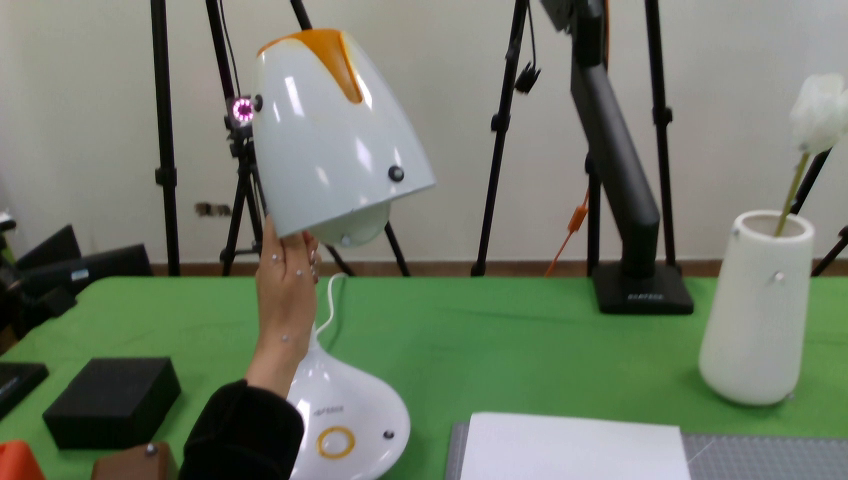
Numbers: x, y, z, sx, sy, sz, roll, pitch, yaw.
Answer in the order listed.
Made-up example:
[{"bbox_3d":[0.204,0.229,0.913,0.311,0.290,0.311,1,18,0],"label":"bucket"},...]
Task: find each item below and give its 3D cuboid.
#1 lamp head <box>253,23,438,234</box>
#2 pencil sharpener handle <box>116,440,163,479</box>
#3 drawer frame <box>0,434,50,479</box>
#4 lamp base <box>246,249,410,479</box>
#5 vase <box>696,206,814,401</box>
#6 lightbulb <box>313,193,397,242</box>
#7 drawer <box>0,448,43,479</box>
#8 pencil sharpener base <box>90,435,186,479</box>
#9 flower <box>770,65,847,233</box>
[{"bbox_3d":[-0.062,-0.075,0.398,0.112,0.123,0.112,-22,0,1],"label":"lamp head"},{"bbox_3d":[-0.251,0.199,0.542,0.036,0.068,0.030,-8,26,-18],"label":"pencil sharpener handle"},{"bbox_3d":[-0.429,0.277,0.471,0.202,0.083,0.211,-14,28,-16],"label":"drawer frame"},{"bbox_3d":[-0.103,0.110,0.581,0.161,0.181,0.177,-13,27,-22],"label":"lamp base"},{"bbox_3d":[0.343,0.068,0.628,0.098,0.201,0.097,-5,26,3],"label":"vase"},{"bbox_3d":[-0.052,-0.052,0.391,0.059,0.108,0.059,-9,5,1],"label":"lightbulb"},{"bbox_3d":[-0.426,0.280,0.470,0.195,0.074,0.209,-14,27,-15],"label":"drawer"},{"bbox_3d":[-0.231,0.229,0.505,0.061,0.108,0.076,-14,28,-15],"label":"pencil sharpener base"},{"bbox_3d":[0.327,0.005,0.573,0.038,0.365,0.043,-35,51,-22],"label":"flower"}]
